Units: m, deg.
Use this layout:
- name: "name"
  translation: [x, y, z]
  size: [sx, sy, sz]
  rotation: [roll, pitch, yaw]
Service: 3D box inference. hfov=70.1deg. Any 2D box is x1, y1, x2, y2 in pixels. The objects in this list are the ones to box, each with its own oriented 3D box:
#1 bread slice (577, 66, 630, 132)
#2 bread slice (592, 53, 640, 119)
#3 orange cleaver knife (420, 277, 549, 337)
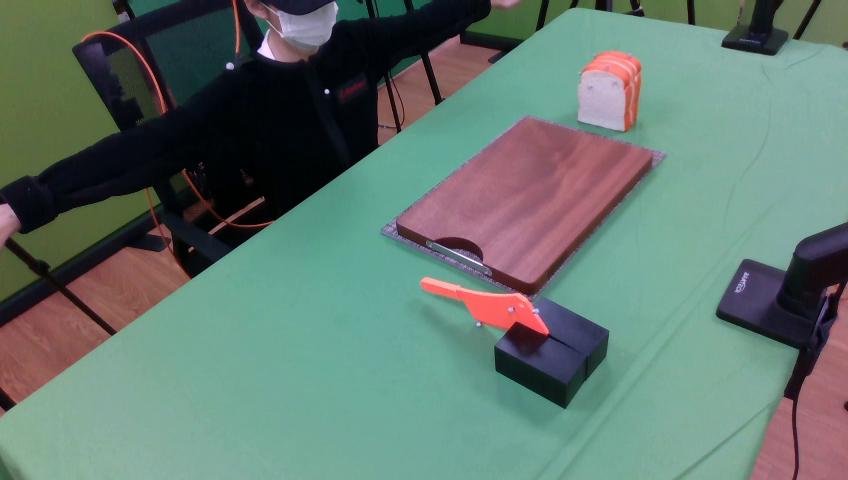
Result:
- name: "bread slice"
  translation: [0.341, -0.271, 1.158]
  size: [0.104, 0.132, 0.019]
  rotation: [21, 56, 31]
- name: "bread slice"
  translation: [0.373, -0.302, 1.186]
  size: [0.106, 0.135, 0.018]
  rotation: [23, 55, 24]
- name: "orange cleaver knife"
  translation: [0.076, 0.089, 0.812]
  size: [0.209, 0.077, 0.012]
  rotation: [9, 44, 47]
